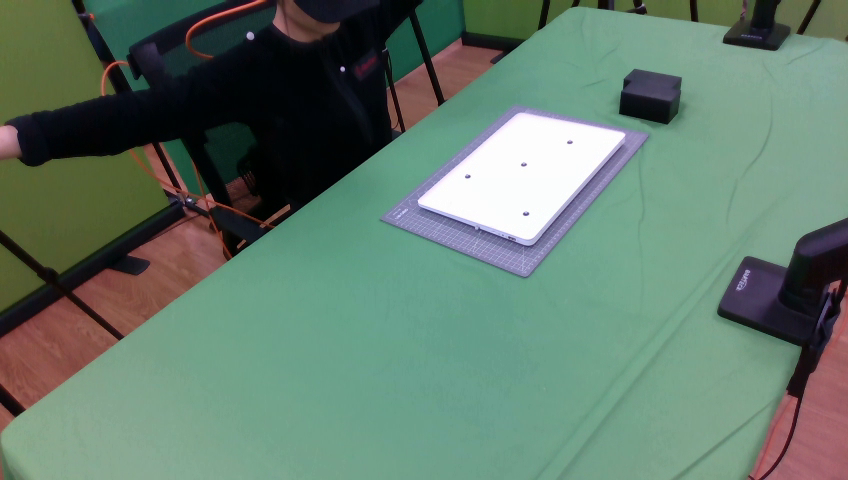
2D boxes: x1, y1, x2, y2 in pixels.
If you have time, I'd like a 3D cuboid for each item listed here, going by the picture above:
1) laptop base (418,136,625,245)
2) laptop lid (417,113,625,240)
[{"bbox_3d":[0.183,-0.123,1.094,0.233,0.023,0.355,19,48,34],"label":"laptop base"},{"bbox_3d":[0.180,-0.132,1.088,0.239,0.013,0.358,22,49,34],"label":"laptop lid"}]
